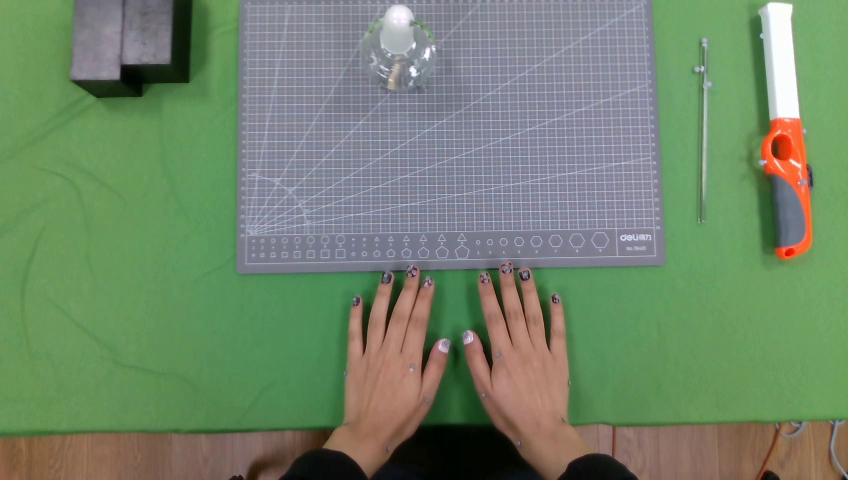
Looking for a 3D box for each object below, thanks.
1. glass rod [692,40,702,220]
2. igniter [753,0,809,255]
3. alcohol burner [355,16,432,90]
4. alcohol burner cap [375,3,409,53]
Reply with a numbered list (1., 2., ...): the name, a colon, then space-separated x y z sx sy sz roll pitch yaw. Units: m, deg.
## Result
1. glass rod: 0.295 -0.121 0.655 0.008 0.008 0.199 4 84 -1
2. igniter: 0.379 -0.121 0.647 0.057 0.025 0.276 0 85 -12
3. alcohol burner: -0.030 -0.195 0.600 0.078 0.119 0.077 0 83 -3
4. alcohol burner cap: -0.028 -0.201 0.564 0.034 0.048 0.033 2 77 -8
